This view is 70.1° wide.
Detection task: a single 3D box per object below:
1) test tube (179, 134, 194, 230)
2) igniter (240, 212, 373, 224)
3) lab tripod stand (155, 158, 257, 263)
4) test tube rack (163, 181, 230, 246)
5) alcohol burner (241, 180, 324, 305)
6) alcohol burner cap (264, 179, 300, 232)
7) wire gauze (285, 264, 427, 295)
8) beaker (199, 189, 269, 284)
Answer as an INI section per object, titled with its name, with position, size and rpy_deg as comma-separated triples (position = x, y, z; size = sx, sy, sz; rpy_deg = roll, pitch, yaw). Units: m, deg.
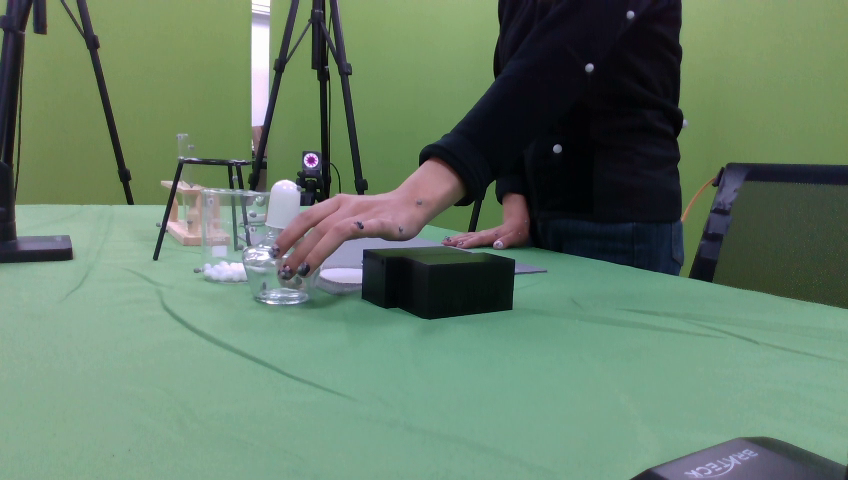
[test tube]
position = -0.366, -0.089, 0.938
size = 0.017, 0.150, 0.017
rpy_deg = -1, 9, 1
[igniter]
position = -0.237, -0.045, 1.250
size = 0.278, 0.025, 0.057
rpy_deg = -2, -2, -31
[lab tripod stand]
position = -0.275, -0.041, 0.797
size = 0.148, 0.131, 0.148
rpy_deg = 2, 9, 0
[test tube rack]
position = -0.387, -0.050, 1.015
size = 0.067, 0.085, 0.241
rpy_deg = -2, 9, -30
[alcohol burner]
position = -0.136, 0.002, 0.583
size = 0.078, 0.119, 0.078
rpy_deg = 1, 8, 0
[alcohol burner cap]
position = -0.134, -0.034, 0.579
size = 0.034, 0.048, 0.034
rpy_deg = 9, 10, -1
[wire gauze]
position = -0.079, 0.039, 0.692
size = 0.122, 0.011, 0.124
rpy_deg = -4, 11, -37
[beaker]
position = -0.209, -0.006, 0.676
size = 0.073, 0.100, 0.084
rpy_deg = 7, 7, 28
